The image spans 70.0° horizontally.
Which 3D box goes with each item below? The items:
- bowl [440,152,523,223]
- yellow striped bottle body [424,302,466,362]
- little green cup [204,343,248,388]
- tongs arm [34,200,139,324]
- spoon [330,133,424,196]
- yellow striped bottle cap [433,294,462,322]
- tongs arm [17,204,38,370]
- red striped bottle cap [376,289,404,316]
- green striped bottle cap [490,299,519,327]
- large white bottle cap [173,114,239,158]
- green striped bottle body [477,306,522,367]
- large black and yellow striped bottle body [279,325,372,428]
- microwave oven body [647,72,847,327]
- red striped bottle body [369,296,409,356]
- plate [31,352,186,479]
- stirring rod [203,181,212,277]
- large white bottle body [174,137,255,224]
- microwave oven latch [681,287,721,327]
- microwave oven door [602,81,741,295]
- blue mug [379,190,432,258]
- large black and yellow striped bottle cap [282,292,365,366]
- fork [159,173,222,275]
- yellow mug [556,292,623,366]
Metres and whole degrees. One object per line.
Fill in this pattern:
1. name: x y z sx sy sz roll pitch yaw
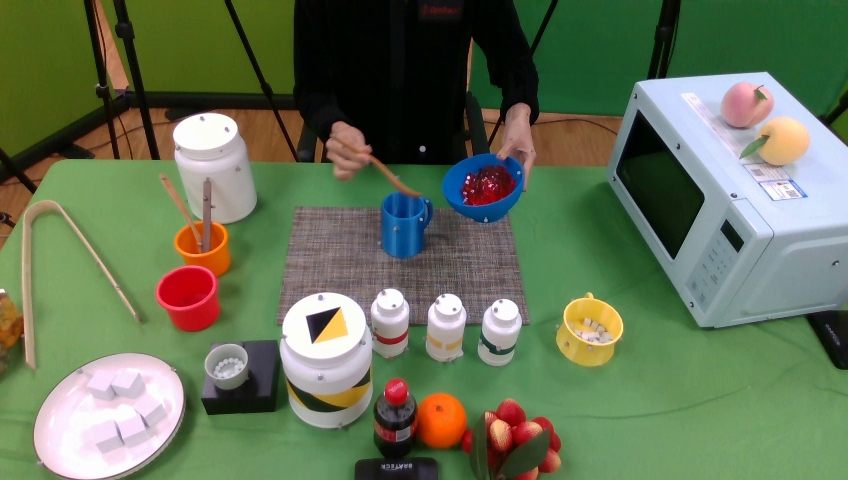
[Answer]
1. bowl: 0.111 -0.084 1.108 0.151 0.077 0.150 -10 43 10
2. yellow striped bottle body: 0.035 0.143 0.996 0.063 0.121 0.062 2 46 -2
3. little green cup: -0.294 0.190 0.909 0.061 0.039 0.061 1 48 -1
4. tongs arm: -0.622 0.034 1.105 0.051 0.026 0.382 -32 55 -26
5. spoon: -0.078 -0.127 1.030 0.021 0.194 0.041 -54 25 -3
6. yellow striped bottle cap: 0.037 0.107 0.958 0.044 0.019 0.044 2 45 -2
7. tongs arm: -0.698 0.069 1.068 0.028 0.028 0.385 -20 50 -13
8. red striped bottle cap: -0.054 0.098 0.958 0.044 0.018 0.044 0 48 0
9. green striped bottle cap: 0.128 0.115 0.958 0.044 0.020 0.044 2 47 -2
10. large white bottle cap: -0.403 -0.195 1.122 0.115 0.018 0.114 2 47 -2
11. green striped bottle body: 0.124 0.151 0.995 0.063 0.120 0.063 2 46 -2
12. large black and yellow striped bottle body: -0.143 0.181 0.900 0.131 0.185 0.130 2 46 -2
13. microwave oven body: 0.607 -0.089 1.164 0.326 0.261 0.438 -7 46 -10
14. red striped bottle body: -0.058 0.134 0.997 0.063 0.120 0.062 4 47 -4
15. plate: -0.459 0.262 0.898 0.209 0.038 0.208 2 46 -2
16. stirring rod: -0.396 -0.021 1.108 0.014 0.006 0.176 -1 89 -1
17. large white bottle body: -0.409 -0.137 1.183 0.131 0.185 0.130 2 46 -2
18. microwave oven latch: 0.494 0.119 1.087 0.030 0.029 0.078 -6 46 -9
19. microwave oven door: 0.456 -0.107 1.162 0.039 0.245 0.353 -7 47 -10
20. blue mug: -0.031 -0.038 1.169 0.116 0.106 0.082 -30 55 -28
21. large black and yellow striped bottle cap: -0.138 0.121 0.841 0.115 0.019 0.114 3 47 -3
22. fork: -0.427 -0.029 1.103 0.028 0.018 0.207 -31 99 -30
23. yellow mug: 0.285 0.146 1.051 0.100 0.064 0.130 8 45 3
